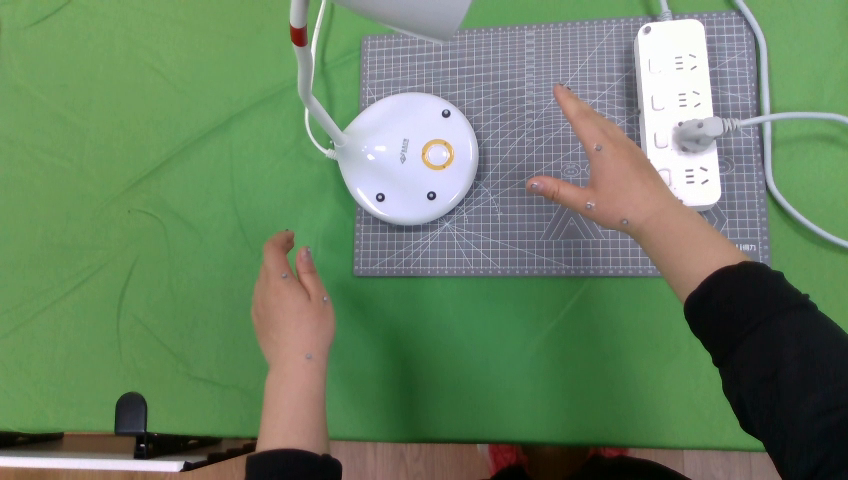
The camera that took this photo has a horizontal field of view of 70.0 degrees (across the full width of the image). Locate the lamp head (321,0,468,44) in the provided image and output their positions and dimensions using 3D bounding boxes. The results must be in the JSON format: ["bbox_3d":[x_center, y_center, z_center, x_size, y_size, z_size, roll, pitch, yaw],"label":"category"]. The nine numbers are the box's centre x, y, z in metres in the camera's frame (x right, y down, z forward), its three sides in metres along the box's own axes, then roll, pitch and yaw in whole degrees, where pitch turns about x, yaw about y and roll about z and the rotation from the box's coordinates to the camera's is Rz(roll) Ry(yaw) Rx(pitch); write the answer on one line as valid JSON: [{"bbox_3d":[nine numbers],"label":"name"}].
[{"bbox_3d":[-0.036,-0.173,0.332,0.123,0.112,0.112,4,81,-12],"label":"lamp head"}]

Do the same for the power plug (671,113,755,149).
[{"bbox_3d":[0.294,-0.110,0.626,0.072,0.053,0.035,8,82,9],"label":"power plug"}]

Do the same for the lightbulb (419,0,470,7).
[{"bbox_3d":[-0.011,-0.167,0.332,0.108,0.059,0.059,13,82,-16],"label":"lightbulb"}]

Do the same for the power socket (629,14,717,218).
[{"bbox_3d":[0.267,-0.138,0.654,0.072,0.033,0.226,-3,80,8],"label":"power socket"}]

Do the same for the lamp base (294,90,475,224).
[{"bbox_3d":[-0.047,-0.108,0.627,0.179,0.181,0.160,-5,80,12],"label":"lamp base"}]
